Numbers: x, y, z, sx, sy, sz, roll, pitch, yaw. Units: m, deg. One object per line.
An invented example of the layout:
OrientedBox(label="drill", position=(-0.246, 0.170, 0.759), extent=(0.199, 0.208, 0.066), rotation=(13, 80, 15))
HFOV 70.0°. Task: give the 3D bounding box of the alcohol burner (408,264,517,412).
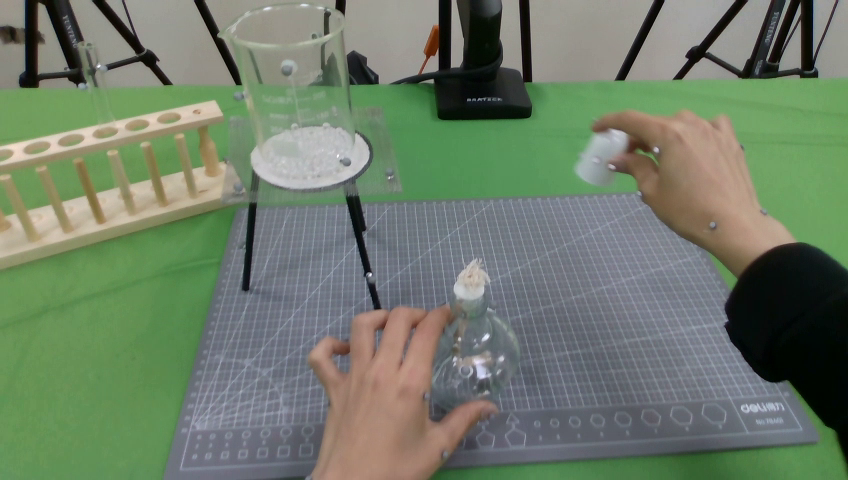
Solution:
OrientedBox(label="alcohol burner", position=(0.028, 0.064, 0.419), extent=(0.078, 0.120, 0.077), rotation=(1, 39, 0))

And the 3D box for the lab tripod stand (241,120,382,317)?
OrientedBox(label="lab tripod stand", position=(-0.087, -0.018, 0.496), extent=(0.148, 0.132, 0.147), rotation=(0, 43, 0))

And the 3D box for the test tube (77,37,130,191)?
OrientedBox(label="test tube", position=(-0.296, -0.111, 0.564), extent=(0.017, 0.151, 0.017), rotation=(3, 35, -2))

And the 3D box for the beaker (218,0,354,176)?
OrientedBox(label="beaker", position=(-0.090, -0.102, 0.417), extent=(0.084, 0.101, 0.073), rotation=(-1, 41, 0))

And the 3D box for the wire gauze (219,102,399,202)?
OrientedBox(label="wire gauze", position=(-0.087, -0.067, 0.452), extent=(0.125, 0.011, 0.120), rotation=(-8, 40, -5))

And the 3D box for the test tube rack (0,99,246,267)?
OrientedBox(label="test tube rack", position=(-0.306, -0.057, 0.578), extent=(0.243, 0.086, 0.066), rotation=(-19, 45, -21))

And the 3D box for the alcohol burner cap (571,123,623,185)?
OrientedBox(label="alcohol burner cap", position=(0.139, -0.071, 0.482), extent=(0.034, 0.048, 0.033), rotation=(6, 46, -6))
